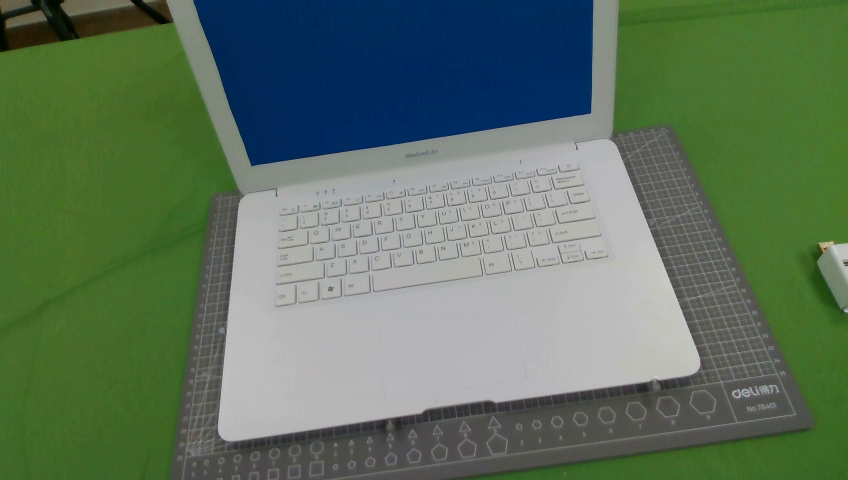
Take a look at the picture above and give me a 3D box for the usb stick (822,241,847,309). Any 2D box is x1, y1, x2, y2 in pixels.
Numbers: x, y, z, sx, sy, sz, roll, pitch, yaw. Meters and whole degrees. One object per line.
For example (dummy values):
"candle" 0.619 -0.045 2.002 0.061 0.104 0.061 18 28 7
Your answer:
"usb stick" 0.323 0.021 0.460 0.021 0.027 0.058 -6 51 5

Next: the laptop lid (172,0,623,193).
"laptop lid" -0.012 -0.160 0.501 0.357 0.244 0.013 -10 36 3

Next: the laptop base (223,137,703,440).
"laptop base" 0.016 0.028 0.504 0.354 0.023 0.233 -9 57 2
